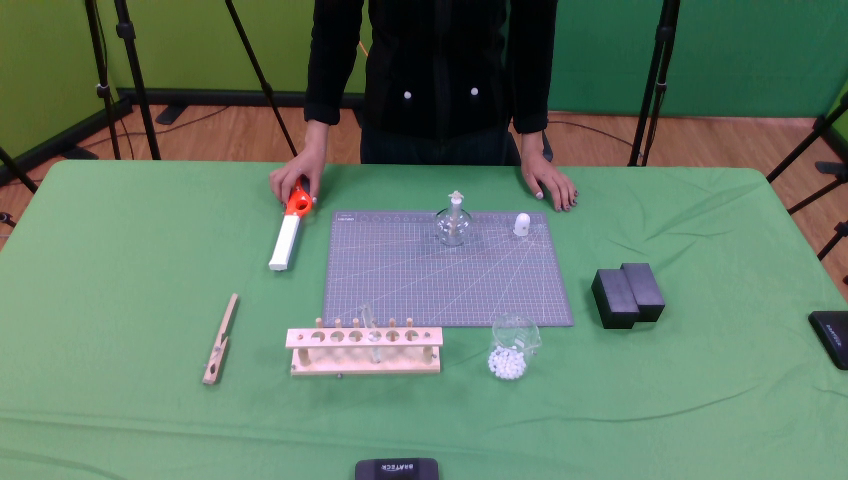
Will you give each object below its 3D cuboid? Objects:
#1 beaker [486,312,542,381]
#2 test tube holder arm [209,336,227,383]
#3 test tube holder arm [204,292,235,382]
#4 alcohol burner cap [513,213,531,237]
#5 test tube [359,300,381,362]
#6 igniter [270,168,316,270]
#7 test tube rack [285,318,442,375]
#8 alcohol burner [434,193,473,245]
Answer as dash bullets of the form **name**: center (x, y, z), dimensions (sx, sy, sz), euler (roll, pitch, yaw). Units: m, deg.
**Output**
- **beaker**: center (0.144, 0.177, 0.985), dimensions (0.084, 0.101, 0.074), euler (22, 49, 16)
- **test tube holder arm**: center (-0.338, 0.193, 0.991), dimensions (0.010, 0.015, 0.087), euler (28, 39, -25)
- **test tube holder arm**: center (-0.343, 0.159, 1.020), dimensions (0.013, 0.015, 0.177), euler (27, 39, -26)
- **alcohol burner cap**: center (0.200, -0.034, 1.227), dimensions (0.034, 0.048, 0.033), euler (2, 45, -2)
- **test tube**: center (-0.083, 0.144, 0.940), dimensions (0.017, 0.151, 0.017), euler (-3, 46, 3)
- **igniter**: center (-0.260, -0.051, 1.213), dimensions (0.057, 0.025, 0.275), euler (1, 47, 5)
- **test tube rack**: center (-0.095, 0.168, 0.986), dimensions (0.242, 0.085, 0.066), euler (0, 46, -4)
- **alcohol burner**: center (0.059, -0.047, 1.180), dimensions (0.078, 0.120, 0.077), euler (1, 48, -1)
